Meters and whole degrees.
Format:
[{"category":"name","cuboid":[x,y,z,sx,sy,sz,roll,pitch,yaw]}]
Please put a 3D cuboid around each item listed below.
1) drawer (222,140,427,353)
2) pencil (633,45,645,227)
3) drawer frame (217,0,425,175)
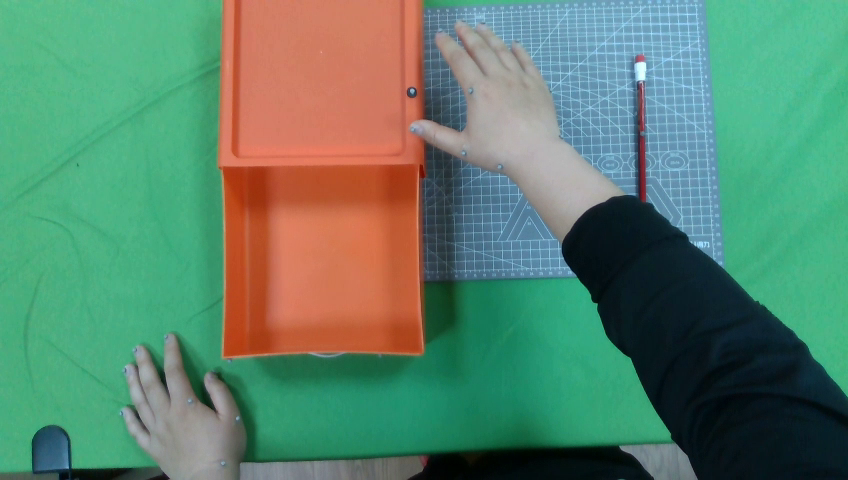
[{"category":"drawer","cuboid":[-0.097,0.006,0.613,0.194,0.073,0.211,-2,88,2]},{"category":"pencil","cuboid":[0.229,-0.111,0.643,0.012,0.012,0.193,0,88,2]},{"category":"drawer frame","cuboid":[-0.102,-0.174,0.621,0.201,0.083,0.213,-2,85,3]}]
